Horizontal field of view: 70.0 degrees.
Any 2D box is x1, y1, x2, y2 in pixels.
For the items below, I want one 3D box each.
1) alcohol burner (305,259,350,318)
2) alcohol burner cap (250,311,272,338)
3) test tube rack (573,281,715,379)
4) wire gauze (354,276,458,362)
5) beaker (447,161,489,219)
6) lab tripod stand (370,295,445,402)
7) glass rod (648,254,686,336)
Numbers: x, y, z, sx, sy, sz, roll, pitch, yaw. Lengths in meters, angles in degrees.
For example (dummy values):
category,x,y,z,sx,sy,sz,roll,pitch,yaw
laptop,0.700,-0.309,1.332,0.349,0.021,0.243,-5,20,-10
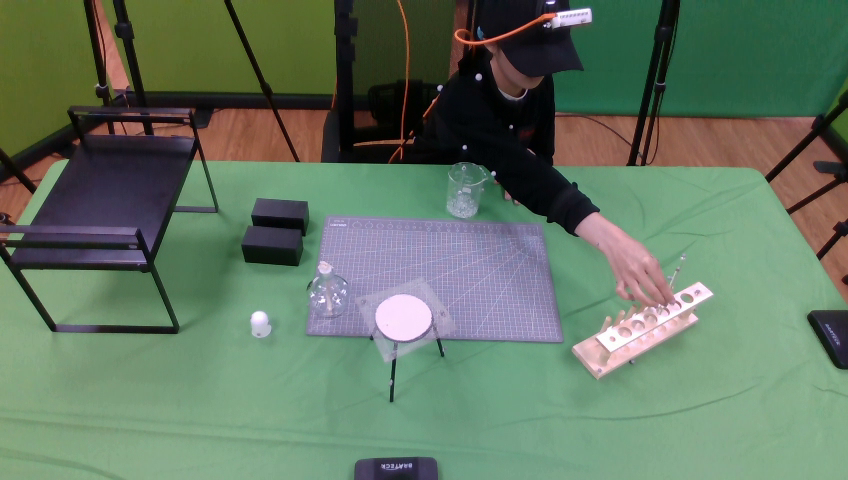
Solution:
category,x,y,z,sx,sy,sz,roll,pitch,yaw
alcohol burner,-0.166,0.078,1.040,0.078,0.120,0.077,1,44,-1
alcohol burner cap,-0.278,0.141,1.026,0.034,0.048,0.033,1,46,-1
test tube rack,0.378,0.140,1.038,0.242,0.085,0.066,-22,51,-23
wire gauze,-0.029,0.113,0.912,0.121,0.011,0.124,-18,49,-19
beaker,0.087,-0.099,1.244,0.084,0.101,0.073,5,46,1
lab tripod stand,-0.036,0.160,0.959,0.148,0.132,0.147,1,46,0
glass rod,0.396,0.094,0.991,0.008,0.201,0.008,1,44,0
